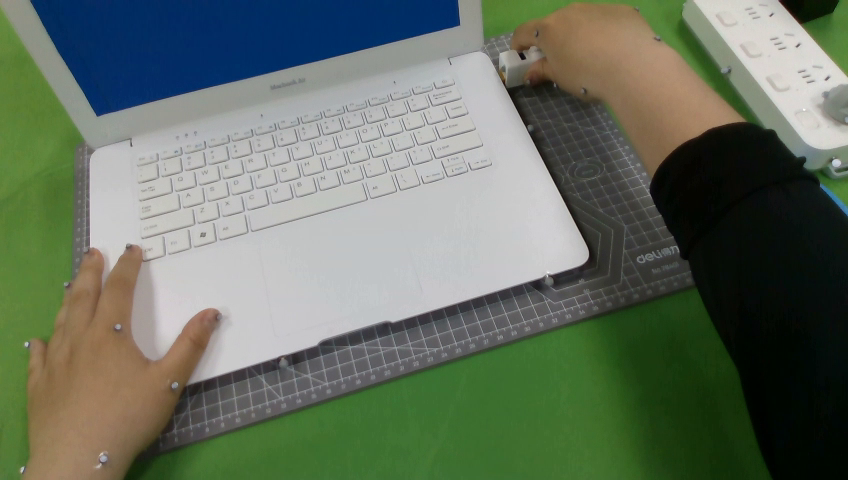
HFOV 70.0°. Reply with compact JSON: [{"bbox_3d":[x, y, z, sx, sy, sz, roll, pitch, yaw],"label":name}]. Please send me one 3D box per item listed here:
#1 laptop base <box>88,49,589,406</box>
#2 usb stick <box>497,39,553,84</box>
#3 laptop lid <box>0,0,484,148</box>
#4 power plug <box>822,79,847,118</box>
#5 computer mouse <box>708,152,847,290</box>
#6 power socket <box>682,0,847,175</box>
[{"bbox_3d":[-0.080,-0.029,0.475,0.355,0.023,0.233,-16,61,-6],"label":"laptop base"},{"bbox_3d":[0.080,-0.153,0.525,0.059,0.027,0.021,-15,57,-1],"label":"usb stick"},{"bbox_3d":[-0.130,-0.205,0.452,0.357,0.244,0.013,-17,45,-5],"label":"laptop lid"},{"bbox_3d":[0.342,-0.109,0.459,0.072,0.053,0.035,-4,59,1],"label":"power plug"},{"bbox_3d":[0.258,-0.020,0.430,0.063,0.041,0.116,-16,53,-4],"label":"computer mouse"},{"bbox_3d":[0.297,-0.151,0.513,0.072,0.033,0.224,-14,58,-3],"label":"power socket"}]
